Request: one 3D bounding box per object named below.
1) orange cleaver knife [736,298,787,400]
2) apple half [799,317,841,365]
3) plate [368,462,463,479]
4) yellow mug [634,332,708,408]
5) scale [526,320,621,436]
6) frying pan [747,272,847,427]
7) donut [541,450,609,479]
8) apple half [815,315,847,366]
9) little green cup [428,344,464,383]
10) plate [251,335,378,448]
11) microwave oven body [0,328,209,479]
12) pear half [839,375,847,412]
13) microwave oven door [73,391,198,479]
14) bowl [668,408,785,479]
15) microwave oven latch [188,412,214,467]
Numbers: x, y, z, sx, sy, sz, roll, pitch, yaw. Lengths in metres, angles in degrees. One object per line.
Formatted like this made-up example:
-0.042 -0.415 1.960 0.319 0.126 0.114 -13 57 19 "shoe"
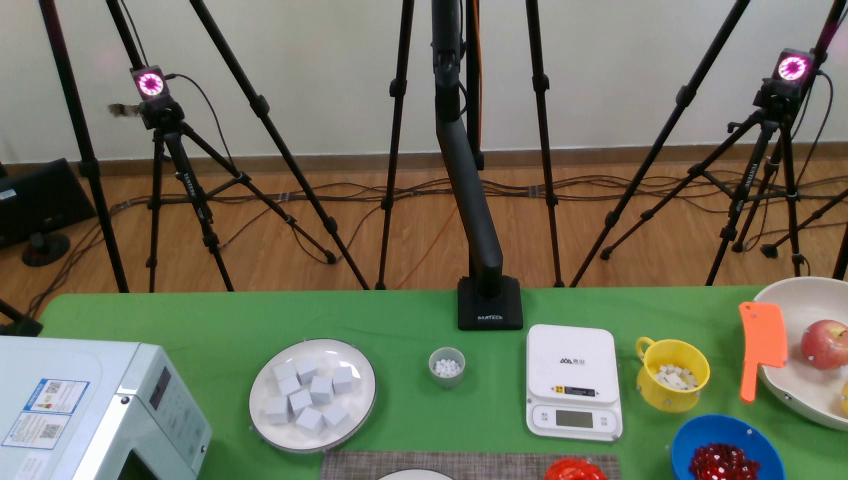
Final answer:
0.537 0.169 0.965 0.077 0.012 0.210 13 49 17 "orange cleaver knife"
0.640 0.170 0.995 0.033 0.082 0.080 -5 45 -5 "apple half"
-0.013 0.412 0.832 0.209 0.038 0.207 -2 46 3 "plate"
0.392 0.203 0.993 0.100 0.064 0.129 -24 48 -18 "yellow mug"
0.245 0.224 1.007 0.148 0.032 0.199 3 47 7 "scale"
0.712 0.236 0.913 0.307 0.104 0.482 -20 40 -14 "frying pan"
0.217 0.351 0.871 0.099 0.049 0.098 -3 46 4 "donut"
0.678 0.166 0.998 0.053 0.075 0.080 -5 42 -5 "apple half"
0.039 0.212 1.029 0.061 0.039 0.061 -2 45 2 "little green cup"
-0.178 0.251 1.005 0.207 0.039 0.205 -2 46 2 "plate"
-0.520 0.362 0.759 0.326 0.262 0.437 2 47 5 "microwave oven body"
0.674 0.231 0.910 0.075 0.111 0.056 27 54 32 "pear half"
-0.379 0.392 0.712 0.039 0.246 0.352 2 46 6 "microwave oven door"
0.419 0.326 0.864 0.151 0.077 0.150 -2 46 2 "bowl"
-0.350 0.307 0.936 0.030 0.030 0.078 3 47 6 "microwave oven latch"
